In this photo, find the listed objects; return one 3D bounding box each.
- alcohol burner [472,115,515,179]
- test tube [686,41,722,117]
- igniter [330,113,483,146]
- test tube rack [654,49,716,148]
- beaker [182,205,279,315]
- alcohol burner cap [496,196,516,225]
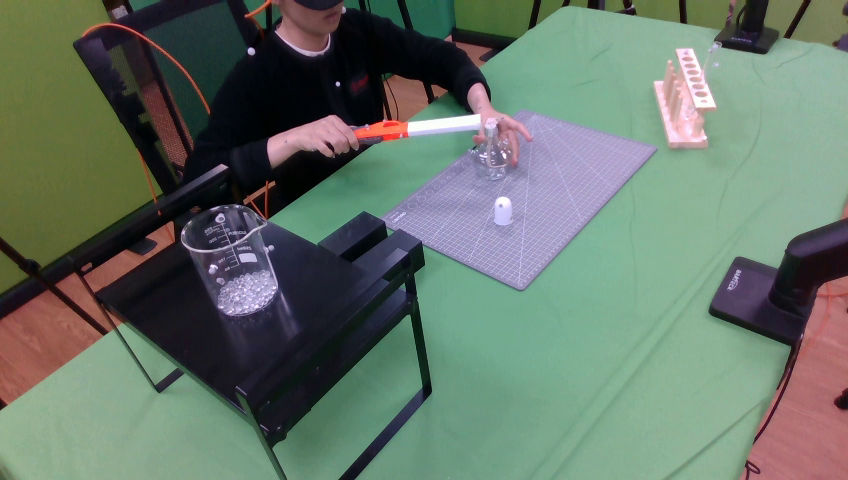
[{"bbox_3d":[0.123,-0.169,1.079,0.078,0.119,0.077,-6,41,5],"label":"alcohol burner"},{"bbox_3d":[0.510,-0.290,1.105,0.017,0.150,0.017,2,44,-1],"label":"test tube"},{"bbox_3d":[-0.035,-0.194,1.061,0.276,0.025,0.057,-5,43,10],"label":"igniter"},{"bbox_3d":[0.502,-0.280,1.176,0.066,0.085,0.241,1,41,11],"label":"test tube rack"},{"bbox_3d":[-0.197,0.024,0.641,0.084,0.101,0.073,-12,41,-6],"label":"beaker"},{"bbox_3d":[0.134,-0.051,0.995,0.034,0.048,0.033,-5,42,5],"label":"alcohol burner cap"}]
